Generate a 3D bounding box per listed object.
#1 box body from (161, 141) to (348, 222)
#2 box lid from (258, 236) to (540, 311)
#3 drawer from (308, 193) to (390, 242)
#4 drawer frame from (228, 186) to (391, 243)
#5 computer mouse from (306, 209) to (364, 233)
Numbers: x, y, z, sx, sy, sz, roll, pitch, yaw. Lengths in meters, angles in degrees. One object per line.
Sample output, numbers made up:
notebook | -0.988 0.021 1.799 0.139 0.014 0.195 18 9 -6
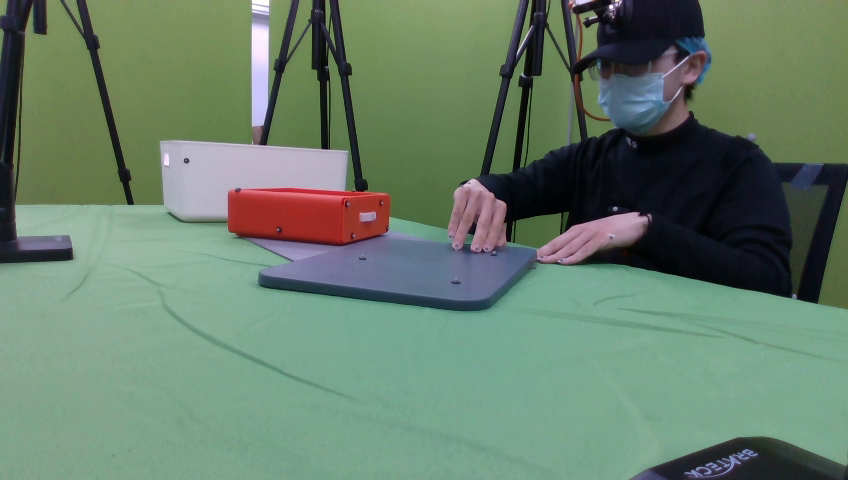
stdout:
box body | -0.379 -0.132 1.352 0.366 0.160 0.253 -2 8 -30
box lid | -0.005 0.032 0.773 0.262 0.015 0.372 5 9 18
drawer | -0.189 -0.048 1.061 0.211 0.073 0.195 4 8 18
drawer frame | -0.193 -0.050 1.061 0.213 0.082 0.202 4 8 17
computer mouse | -0.153 -0.032 1.052 0.062 0.041 0.117 1 0 18
